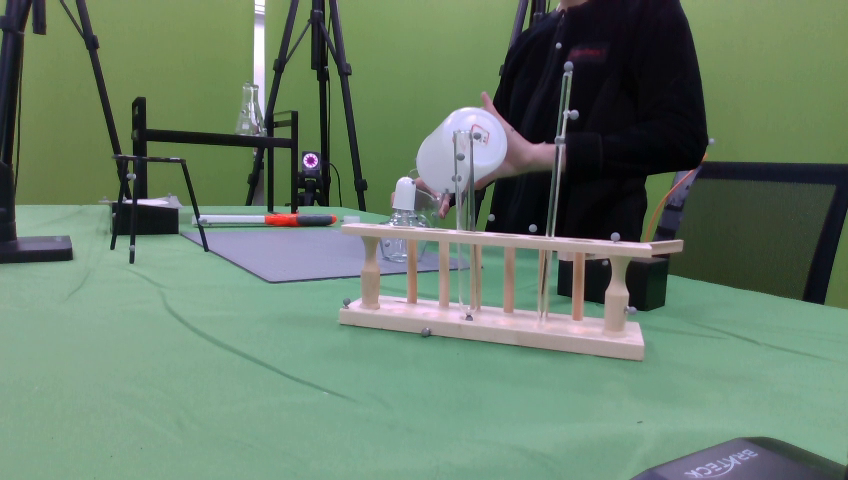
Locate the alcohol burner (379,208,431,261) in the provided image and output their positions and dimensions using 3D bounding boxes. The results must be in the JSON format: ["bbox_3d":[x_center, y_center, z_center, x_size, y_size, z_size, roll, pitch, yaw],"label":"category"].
[{"bbox_3d":[-0.027,-0.031,0.838,0.078,0.119,0.078,0,6,0],"label":"alcohol burner"}]

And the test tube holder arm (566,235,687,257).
[{"bbox_3d":[0.215,0.006,0.630,0.179,0.015,0.013,-3,9,-30],"label":"test tube holder arm"}]

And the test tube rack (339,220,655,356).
[{"bbox_3d":[0.056,0.032,0.495,0.242,0.085,0.067,4,7,15],"label":"test tube rack"}]

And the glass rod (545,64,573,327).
[{"bbox_3d":[0.101,-0.028,0.453,0.008,0.199,0.008,1,14,0],"label":"glass rod"}]

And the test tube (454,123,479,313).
[{"bbox_3d":[0.034,-0.016,0.476,0.017,0.150,0.017,-2,9,1],"label":"test tube"}]

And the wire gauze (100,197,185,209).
[{"bbox_3d":[-0.469,-0.062,1.008,0.126,0.011,0.121,-2,8,-25],"label":"wire gauze"}]

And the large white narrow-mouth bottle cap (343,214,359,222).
[{"bbox_3d":[-0.155,-0.043,1.282,0.038,0.024,0.037,2,8,0],"label":"large white narrow-mouth bottle cap"}]

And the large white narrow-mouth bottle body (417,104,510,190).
[{"bbox_3d":[0.045,-0.130,0.928,0.102,0.101,0.194,-1,-10,-21],"label":"large white narrow-mouth bottle body"}]

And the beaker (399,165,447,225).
[{"bbox_3d":[0.000,-0.067,1.050,0.074,0.100,0.083,-6,44,-23],"label":"beaker"}]

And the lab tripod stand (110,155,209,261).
[{"bbox_3d":[-0.361,-0.046,0.806,0.148,0.131,0.148,2,5,0],"label":"lab tripod stand"}]

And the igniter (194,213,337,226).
[{"bbox_3d":[-0.306,-0.041,1.197,0.278,0.025,0.057,-2,-2,-30],"label":"igniter"}]

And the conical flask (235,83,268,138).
[{"bbox_3d":[-0.402,-0.299,1.406,0.075,0.122,0.075,2,7,0],"label":"conical flask"}]

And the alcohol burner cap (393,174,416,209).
[{"bbox_3d":[-0.025,-0.067,0.834,0.034,0.048,0.034,8,7,-1],"label":"alcohol burner cap"}]

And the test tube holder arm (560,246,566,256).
[{"bbox_3d":[0.173,0.007,0.612,0.088,0.015,0.010,-3,9,-29],"label":"test tube holder arm"}]
